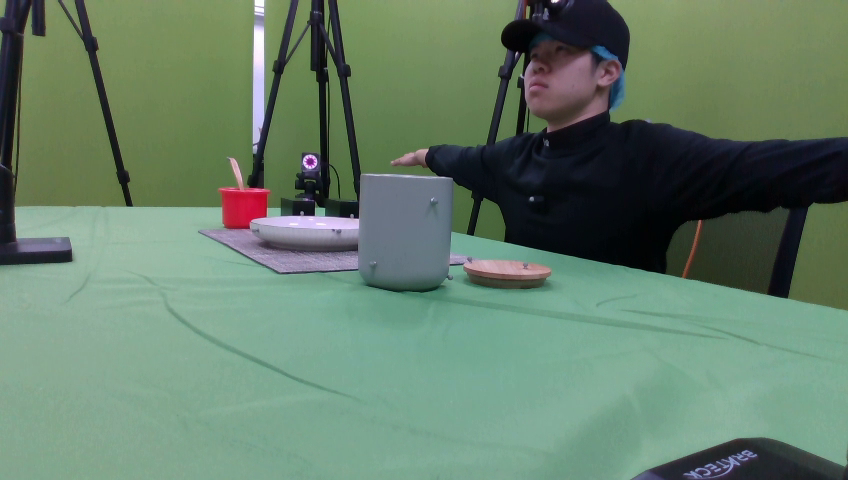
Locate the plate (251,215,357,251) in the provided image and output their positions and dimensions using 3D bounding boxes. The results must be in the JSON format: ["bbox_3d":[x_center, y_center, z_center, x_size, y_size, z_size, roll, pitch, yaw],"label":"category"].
[{"bbox_3d":[-0.170,-0.012,0.971,0.208,0.039,0.207,2,7,0],"label":"plate"}]

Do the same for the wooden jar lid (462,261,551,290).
[{"bbox_3d":[0.100,0.043,0.742,0.108,0.020,0.108,2,6,0],"label":"wooden jar lid"}]

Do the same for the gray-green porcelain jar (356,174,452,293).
[{"bbox_3d":[-0.023,-0.009,0.682,0.106,0.126,0.106,2,7,0],"label":"gray-green porcelain jar"}]

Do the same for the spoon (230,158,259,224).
[{"bbox_3d":[-0.366,-0.101,1.215,0.042,0.021,0.193,-1,52,-30],"label":"spoon"}]
